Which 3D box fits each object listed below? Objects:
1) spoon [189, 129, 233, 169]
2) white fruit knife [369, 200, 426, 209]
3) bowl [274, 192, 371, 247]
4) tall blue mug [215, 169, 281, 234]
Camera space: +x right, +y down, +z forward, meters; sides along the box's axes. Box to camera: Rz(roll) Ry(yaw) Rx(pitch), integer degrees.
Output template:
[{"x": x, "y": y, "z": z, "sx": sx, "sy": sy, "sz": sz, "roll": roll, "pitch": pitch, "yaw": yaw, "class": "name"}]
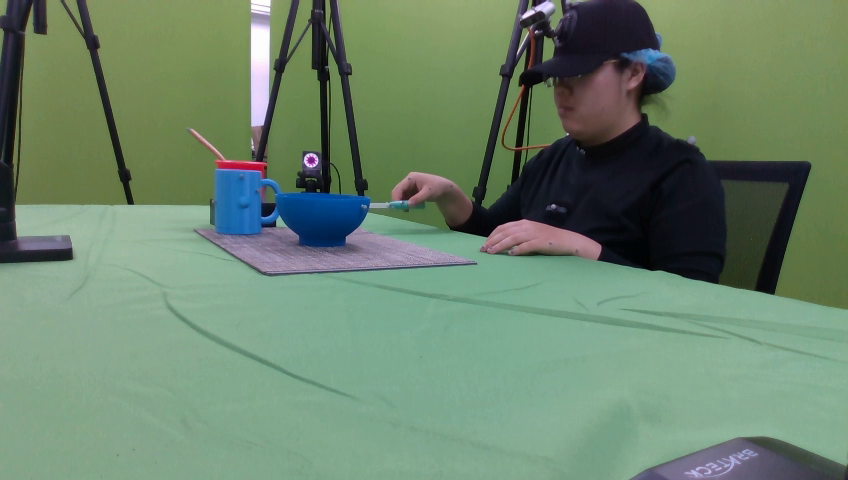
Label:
[{"x": -0.388, "y": -0.150, "z": 1.174, "sx": 0.193, "sy": 0.021, "sz": 0.042, "roll": 48, "pitch": 20, "yaw": 6, "class": "spoon"}, {"x": -0.065, "y": -0.069, "z": 1.191, "sx": 0.027, "sy": 0.016, "sz": 0.208, "roll": -29, "pitch": -16, "yaw": 39, "class": "white fruit knife"}, {"x": -0.161, "y": -0.033, "z": 0.958, "sx": 0.151, "sy": 0.077, "sz": 0.151, "roll": 3, "pitch": 8, "yaw": 0, "class": "bowl"}, {"x": -0.313, "y": -0.069, "z": 1.061, "sx": 0.077, "sy": 0.108, "sz": 0.108, "roll": 6, "pitch": 8, "yaw": 31, "class": "tall blue mug"}]
